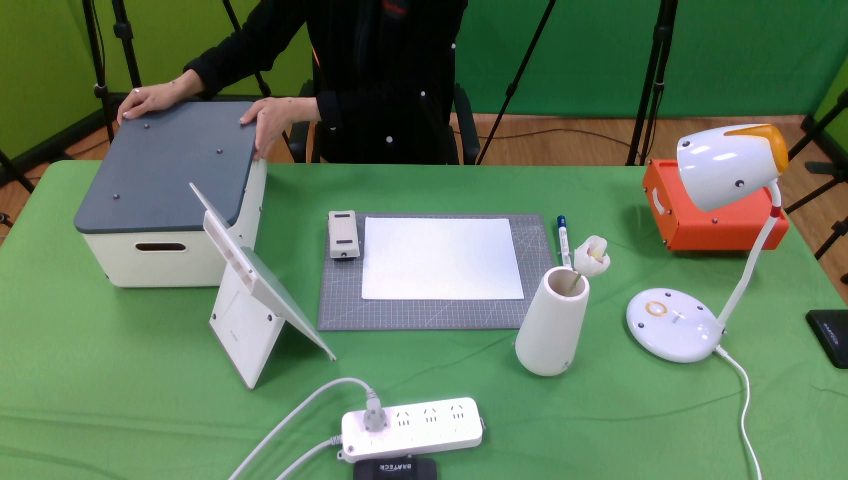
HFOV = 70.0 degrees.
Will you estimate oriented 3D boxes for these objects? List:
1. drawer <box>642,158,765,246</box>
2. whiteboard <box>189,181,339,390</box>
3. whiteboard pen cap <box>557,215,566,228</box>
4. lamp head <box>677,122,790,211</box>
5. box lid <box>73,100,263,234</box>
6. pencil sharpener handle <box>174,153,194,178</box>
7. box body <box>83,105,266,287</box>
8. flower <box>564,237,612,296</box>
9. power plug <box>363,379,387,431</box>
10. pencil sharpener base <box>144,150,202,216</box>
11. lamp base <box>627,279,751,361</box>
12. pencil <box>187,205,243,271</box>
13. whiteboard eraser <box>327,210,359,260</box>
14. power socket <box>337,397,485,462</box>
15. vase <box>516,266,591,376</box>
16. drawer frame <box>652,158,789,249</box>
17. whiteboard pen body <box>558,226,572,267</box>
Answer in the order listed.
[{"bbox_3d":[0.566,-0.076,1.211,0.212,0.073,0.193,2,45,-2],"label":"drawer"},{"bbox_3d":[-0.292,0.096,0.929,0.144,0.307,0.216,-37,57,-10],"label":"whiteboard"},{"bbox_3d":[0.284,-0.034,1.246,0.018,0.018,0.033,4,52,-1],"label":"whiteboard pen cap"},{"bbox_3d":[0.424,-0.104,0.819,0.122,0.113,0.112,-13,33,40],"label":"lamp head"},{"bbox_3d":[-0.443,-0.143,1.091,0.263,0.015,0.369,-2,45,-3],"label":"box lid"},{"bbox_3d":[-0.479,-0.156,1.225,0.036,0.068,0.030,24,48,2],"label":"pencil sharpener handle"},{"bbox_3d":[-0.447,-0.088,1.150,0.254,0.161,0.361,-1,46,-5],"label":"box body"},{"bbox_3d":[0.207,0.088,0.893,0.038,0.363,0.044,-17,67,-9],"label":"flower"},{"bbox_3d":[-0.072,0.252,0.910,0.035,0.053,0.072,3,45,-1],"label":"power plug"},{"bbox_3d":[-0.493,-0.113,1.199,0.061,0.107,0.076,15,47,11],"label":"pencil sharpener base"},{"bbox_3d":[0.460,0.100,1.027,0.178,0.181,0.160,27,51,17],"label":"lamp base"},{"bbox_3d":[-0.401,-0.009,1.176,0.012,0.012,0.193,15,45,10],"label":"pencil"},{"bbox_3d":[-0.158,-0.009,1.177,0.055,0.042,0.112,-6,47,-7],"label":"whiteboard eraser"},{"bbox_3d":[-0.018,0.285,0.915,0.227,0.033,0.071,-5,46,-8],"label":"power socket"},{"bbox_3d":[0.208,0.132,0.964,0.098,0.201,0.097,3,46,-3],"label":"vase"},{"bbox_3d":[0.571,-0.075,1.214,0.214,0.083,0.200,0,45,-1],"label":"drawer frame"},{"bbox_3d":[0.280,0.010,1.208,0.017,0.017,0.140,3,50,-1],"label":"whiteboard pen body"}]
